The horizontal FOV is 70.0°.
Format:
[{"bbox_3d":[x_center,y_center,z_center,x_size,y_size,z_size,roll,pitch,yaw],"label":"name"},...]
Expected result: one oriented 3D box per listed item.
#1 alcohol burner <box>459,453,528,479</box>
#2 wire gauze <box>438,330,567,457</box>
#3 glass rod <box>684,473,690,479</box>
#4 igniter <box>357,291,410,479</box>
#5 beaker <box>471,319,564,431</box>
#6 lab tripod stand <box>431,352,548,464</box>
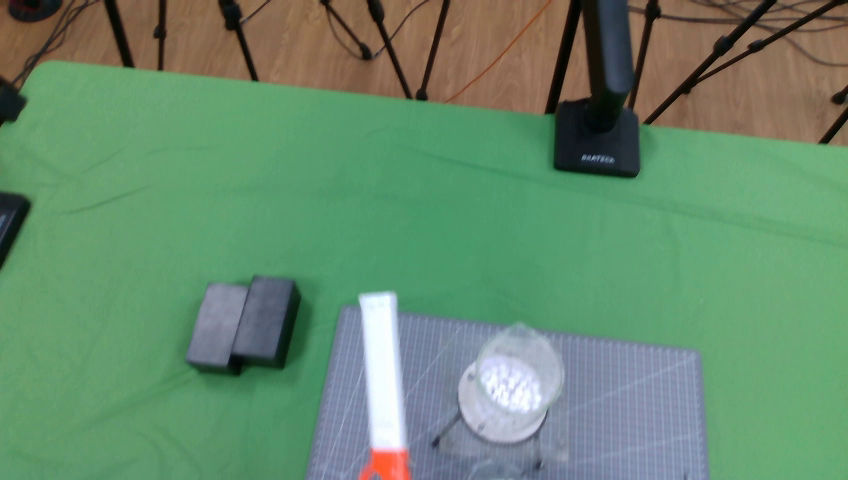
[{"bbox_3d":[0.073,0.257,0.622,0.078,0.120,0.077,0,62,1],"label":"alcohol burner"},{"bbox_3d":[0.075,0.146,0.592,0.125,0.011,0.120,2,61,3],"label":"wire gauze"},{"bbox_3d":[0.283,0.350,0.638,0.008,0.008,0.198,7,64,2],"label":"glass rod"},{"bbox_3d":[-0.032,0.182,0.515,0.057,0.025,0.276,-5,86,22],"label":"igniter"},{"bbox_3d":[0.079,0.126,0.548,0.074,0.101,0.083,4,62,2],"label":"beaker"},{"bbox_3d":[0.076,0.178,0.650,0.148,0.132,0.147,0,62,1],"label":"lab tripod stand"}]
